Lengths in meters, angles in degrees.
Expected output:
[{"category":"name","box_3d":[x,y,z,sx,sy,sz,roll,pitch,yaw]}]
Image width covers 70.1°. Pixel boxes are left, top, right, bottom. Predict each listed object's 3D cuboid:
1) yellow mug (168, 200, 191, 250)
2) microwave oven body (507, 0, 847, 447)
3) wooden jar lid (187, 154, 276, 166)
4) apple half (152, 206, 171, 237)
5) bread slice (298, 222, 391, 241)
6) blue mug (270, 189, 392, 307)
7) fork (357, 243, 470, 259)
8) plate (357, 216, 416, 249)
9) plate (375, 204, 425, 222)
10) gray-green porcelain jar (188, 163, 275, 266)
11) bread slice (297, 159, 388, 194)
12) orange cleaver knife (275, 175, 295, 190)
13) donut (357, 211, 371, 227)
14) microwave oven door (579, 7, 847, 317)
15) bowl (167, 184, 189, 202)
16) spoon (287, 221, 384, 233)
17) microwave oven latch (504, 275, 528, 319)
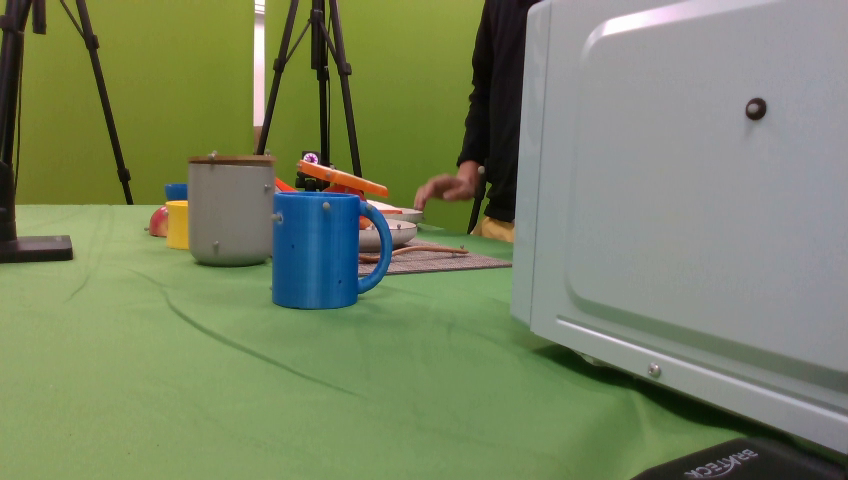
[{"category":"yellow mug","box_3d":[-0.320,-0.023,0.904,0.130,0.064,0.100,8,10,36]},{"category":"microwave oven body","box_3d":[0.331,-0.042,0.425,0.444,0.260,0.324,-2,8,-31]},{"category":"wooden jar lid","box_3d":[-0.244,-0.097,0.771,0.108,0.020,0.108,-1,7,0]},{"category":"apple half","box_3d":[-0.415,-0.034,1.017,0.081,0.053,0.074,1,10,-8]},{"category":"bread slice","box_3d":[-0.121,-0.014,0.970,0.106,0.018,0.135,10,10,41]},{"category":"blue mug","box_3d":[-0.090,0.005,0.588,0.117,0.106,0.082,1,7,-11]},{"category":"fork","box_3d":[-0.017,0.014,0.845,0.208,0.018,0.028,-5,-1,-35]},{"category":"plate","box_3d":[-0.116,-0.014,0.967,0.208,0.039,0.207,2,7,0]},{"category":"plate","box_3d":[-0.102,-0.053,1.299,0.209,0.038,0.209,2,8,0]},{"category":"gray-green porcelain jar","box_3d":[-0.246,-0.034,0.779,0.106,0.126,0.106,1,7,0]},{"category":"bread slice","box_3d":[-0.132,-0.102,0.952,0.132,0.019,0.104,13,6,-36]},{"category":"orange cleaver knife","box_3d":[-0.283,-0.087,1.343,0.212,0.077,0.012,24,-16,-41]},{"category":"donut","box_3d":[-0.129,-0.041,0.956,0.099,0.048,0.099,2,7,0]},{"category":"microwave oven door","box_3d":[0.294,-0.067,0.570,0.358,0.243,0.039,-3,9,-31]},{"category":"bowl","box_3d":[-0.408,-0.064,1.154,0.151,0.077,0.151,2,8,0]},{"category":"spoon","box_3d":[-0.157,-0.027,1.110,0.195,0.021,0.041,-4,-12,-35]},{"category":"microwave oven latch","box_3d":[0.100,0.042,0.470,0.079,0.029,0.030,-1,7,-28]}]
